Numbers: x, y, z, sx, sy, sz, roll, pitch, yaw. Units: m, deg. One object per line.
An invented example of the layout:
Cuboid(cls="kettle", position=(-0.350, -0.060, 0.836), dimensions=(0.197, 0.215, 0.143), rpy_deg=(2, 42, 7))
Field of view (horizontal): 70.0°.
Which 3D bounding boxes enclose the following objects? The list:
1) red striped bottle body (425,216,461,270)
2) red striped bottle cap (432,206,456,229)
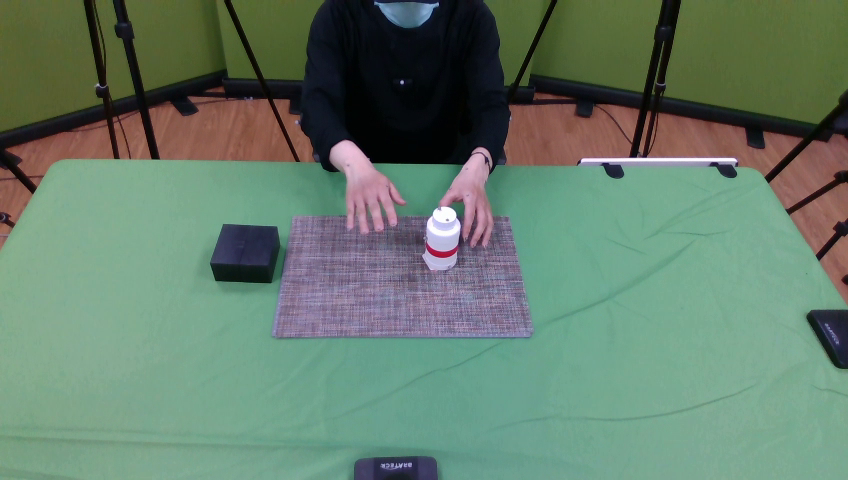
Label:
Cuboid(cls="red striped bottle body", position=(0.035, -0.004, 1.128), dimensions=(0.063, 0.120, 0.062), rpy_deg=(1, 46, -1))
Cuboid(cls="red striped bottle cap", position=(0.036, -0.041, 1.090), dimensions=(0.044, 0.018, 0.044), rpy_deg=(2, 45, -2))
